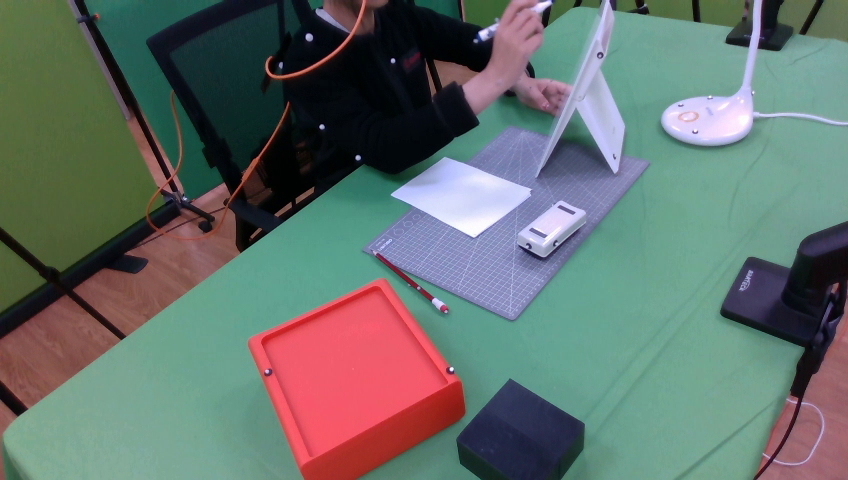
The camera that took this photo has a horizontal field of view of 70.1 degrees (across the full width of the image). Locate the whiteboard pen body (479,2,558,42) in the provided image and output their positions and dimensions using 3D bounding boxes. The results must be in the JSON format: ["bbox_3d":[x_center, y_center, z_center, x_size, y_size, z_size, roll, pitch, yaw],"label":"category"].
[{"bbox_3d":[0.158,-0.368,1.018,0.140,0.017,0.017,-20,38,16],"label":"whiteboard pen body"}]

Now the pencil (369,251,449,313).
[{"bbox_3d":[-0.028,0.060,0.924,0.012,0.012,0.192,-33,46,-25],"label":"pencil"}]

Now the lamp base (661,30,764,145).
[{"bbox_3d":[0.535,-0.287,1.096,0.179,0.181,0.159,-10,40,-4],"label":"lamp base"}]

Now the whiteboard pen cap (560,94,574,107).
[{"bbox_3d":[0.301,-0.293,1.272,0.018,0.018,0.033,26,50,34],"label":"whiteboard pen cap"}]

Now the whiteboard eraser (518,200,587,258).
[{"bbox_3d":[0.201,-0.016,0.943,0.113,0.042,0.055,-37,46,-29],"label":"whiteboard eraser"}]

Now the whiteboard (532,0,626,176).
[{"bbox_3d":[0.321,-0.258,1.050,0.144,0.306,0.217,21,45,5],"label":"whiteboard"}]

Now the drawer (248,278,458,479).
[{"bbox_3d":[-0.092,0.167,0.756,0.195,0.073,0.210,-24,43,-18],"label":"drawer"}]

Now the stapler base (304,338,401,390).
[{"bbox_3d":[-0.096,0.160,0.813,0.131,0.024,0.041,-17,42,-18],"label":"stapler base"}]

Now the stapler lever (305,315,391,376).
[{"bbox_3d":[-0.100,0.136,0.790,0.118,0.040,0.026,-23,44,-12],"label":"stapler lever"}]

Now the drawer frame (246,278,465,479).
[{"bbox_3d":[-0.088,0.168,0.752,0.202,0.083,0.211,-24,43,-18],"label":"drawer frame"}]
